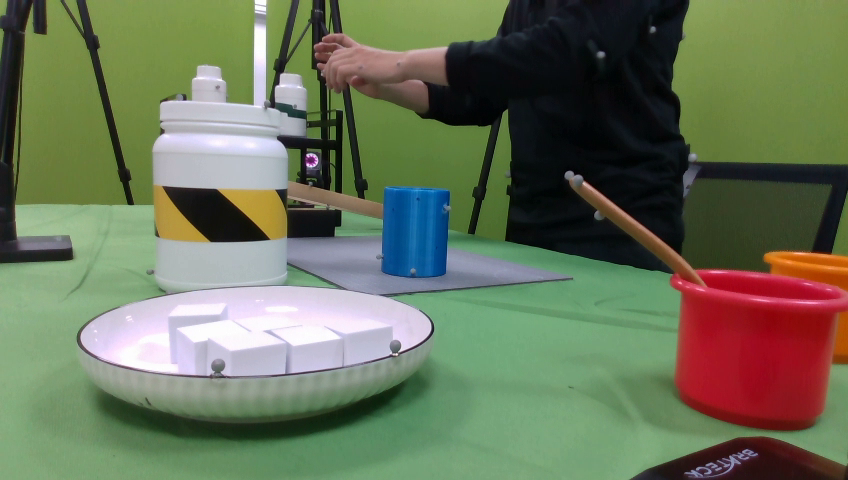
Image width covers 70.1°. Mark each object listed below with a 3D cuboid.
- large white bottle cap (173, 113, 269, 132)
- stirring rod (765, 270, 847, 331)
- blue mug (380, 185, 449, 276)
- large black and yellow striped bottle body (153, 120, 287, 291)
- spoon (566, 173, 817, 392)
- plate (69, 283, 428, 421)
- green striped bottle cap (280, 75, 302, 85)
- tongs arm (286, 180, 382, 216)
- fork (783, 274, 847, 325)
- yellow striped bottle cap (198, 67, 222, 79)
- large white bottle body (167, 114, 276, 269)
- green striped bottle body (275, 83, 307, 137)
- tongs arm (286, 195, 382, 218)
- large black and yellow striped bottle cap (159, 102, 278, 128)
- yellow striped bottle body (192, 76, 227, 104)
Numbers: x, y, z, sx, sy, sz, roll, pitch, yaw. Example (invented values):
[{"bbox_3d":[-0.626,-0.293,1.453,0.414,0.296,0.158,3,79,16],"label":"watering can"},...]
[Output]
[{"bbox_3d":[-0.254,-0.146,0.760,0.115,0.018,0.115,1,7,0],"label":"large white bottle cap"},{"bbox_3d":[0.351,0.020,0.484,0.176,0.006,0.014,-40,-7,12],"label":"stirring rod"},{"bbox_3d":[-0.018,-0.016,0.764,0.083,0.106,0.116,-2,8,-25],"label":"blue mug"},{"bbox_3d":[-0.208,-0.043,0.626,0.131,0.184,0.130,2,7,0],"label":"large black and yellow striped bottle body"},{"bbox_3d":[0.161,0.024,0.370,0.193,0.021,0.042,47,18,3],"label":"spoon"},{"bbox_3d":[-0.102,0.066,0.381,0.208,0.039,0.207,2,7,0],"label":"plate"},{"bbox_3d":[-0.267,-0.321,1.216,0.044,0.020,0.044,2,8,0],"label":"green striped bottle cap"},{"bbox_3d":[-0.122,-0.066,1.147,0.387,0.026,0.050,11,-2,-37],"label":"tongs arm"},{"bbox_3d":[0.332,0.018,0.443,0.028,0.018,0.207,-1,-36,-15],"label":"fork"},{"bbox_3d":[-0.412,-0.320,1.163,0.044,0.018,0.044,0,6,0],"label":"yellow striped bottle cap"},{"bbox_3d":[-0.256,-0.063,0.772,0.131,0.184,0.130,2,7,0],"label":"large white bottle body"},{"bbox_3d":[-0.269,-0.269,1.221,0.063,0.119,0.063,2,7,0],"label":"green striped bottle body"},{"bbox_3d":[-0.165,-0.075,1.216,0.389,0.027,0.028,12,-5,-24],"label":"tongs arm"},{"bbox_3d":[-0.207,-0.125,0.615,0.115,0.019,0.115,2,6,0],"label":"large black and yellow striped bottle cap"},{"bbox_3d":[-0.414,-0.268,1.169,0.063,0.120,0.063,2,7,0],"label":"yellow striped bottle body"}]
